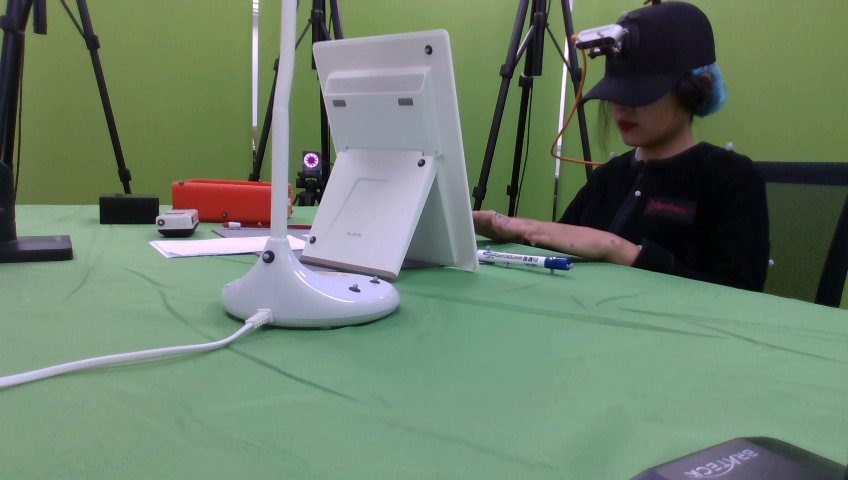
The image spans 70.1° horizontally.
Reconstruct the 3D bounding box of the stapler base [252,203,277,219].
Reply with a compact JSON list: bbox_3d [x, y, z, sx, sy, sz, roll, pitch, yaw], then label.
[{"bbox_3d":[-0.341,-0.065,1.301,0.041,0.024,0.130,15,5,-10],"label":"stapler base"}]

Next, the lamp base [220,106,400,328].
[{"bbox_3d":[-0.101,-0.023,0.531,0.160,0.180,0.179,4,10,10],"label":"lamp base"}]

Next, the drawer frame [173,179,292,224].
[{"bbox_3d":[-0.400,-0.086,1.300,0.214,0.082,0.201,1,8,-8],"label":"drawer frame"}]

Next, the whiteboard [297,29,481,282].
[{"bbox_3d":[-0.076,-0.082,0.741,0.216,0.305,0.144,9,29,37],"label":"whiteboard"}]

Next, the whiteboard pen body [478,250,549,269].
[{"bbox_3d":[0.130,0.028,0.827,0.140,0.017,0.017,7,8,38],"label":"whiteboard pen body"}]

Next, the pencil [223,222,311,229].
[{"bbox_3d":[-0.274,-0.025,1.132,0.195,0.012,0.012,1,7,-25],"label":"pencil"}]

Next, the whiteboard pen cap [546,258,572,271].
[{"bbox_3d":[0.176,0.032,0.790,0.033,0.018,0.018,3,6,37],"label":"whiteboard pen cap"}]

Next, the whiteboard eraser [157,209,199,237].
[{"bbox_3d":[-0.411,-0.029,1.016,0.056,0.042,0.112,2,7,-16],"label":"whiteboard eraser"}]

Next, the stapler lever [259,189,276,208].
[{"bbox_3d":[-0.335,-0.090,1.300,0.027,0.040,0.118,15,4,-9],"label":"stapler lever"}]

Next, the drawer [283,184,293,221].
[{"bbox_3d":[-0.396,-0.084,1.301,0.212,0.073,0.194,1,8,-7],"label":"drawer"}]
